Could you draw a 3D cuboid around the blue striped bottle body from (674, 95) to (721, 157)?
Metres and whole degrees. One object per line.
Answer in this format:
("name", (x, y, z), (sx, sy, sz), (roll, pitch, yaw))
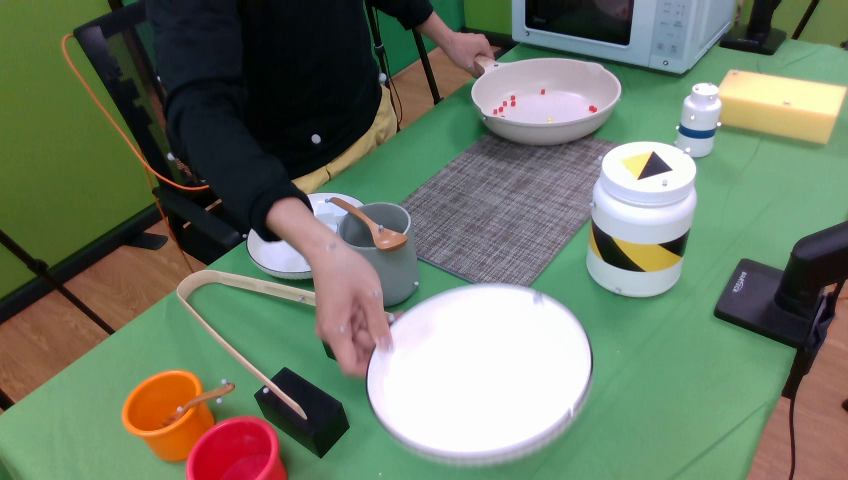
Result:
("blue striped bottle body", (0.486, -0.213, 1.072), (0.063, 0.121, 0.063), (-4, 41, 4))

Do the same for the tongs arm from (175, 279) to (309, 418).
("tongs arm", (-0.255, 0.132, 0.800), (0.028, 0.028, 0.384), (-41, 40, -23))

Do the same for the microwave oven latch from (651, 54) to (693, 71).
("microwave oven latch", (0.531, -0.386, 1.301), (0.078, 0.029, 0.030), (26, 51, 33))

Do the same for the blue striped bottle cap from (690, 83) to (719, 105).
("blue striped bottle cap", (0.481, -0.251, 1.038), (0.044, 0.021, 0.044), (-5, 39, 5))

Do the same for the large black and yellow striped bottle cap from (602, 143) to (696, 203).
("large black and yellow striped bottle cap", (0.289, -0.088, 0.779), (0.115, 0.019, 0.114), (-5, 40, 4))

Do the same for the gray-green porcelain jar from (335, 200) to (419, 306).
("gray-green porcelain jar", (-0.064, 0.023, 0.872), (0.106, 0.127, 0.105), (-4, 41, 4))

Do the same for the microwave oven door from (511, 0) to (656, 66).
("microwave oven door", (0.350, -0.539, 1.348), (0.353, 0.245, 0.039), (24, 50, 31))

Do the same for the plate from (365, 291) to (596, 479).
("plate", (0.051, 0.129, 0.555), (0.209, 0.038, 0.208), (-8, 36, 6))

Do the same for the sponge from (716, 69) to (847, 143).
("sponge", (0.663, -0.256, 1.142), (0.205, 0.061, 0.118), (19, 47, 28))

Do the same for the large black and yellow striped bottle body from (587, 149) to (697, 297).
("large black and yellow striped bottle body", (0.298, -0.026, 0.835), (0.131, 0.185, 0.130), (-4, 41, 4))

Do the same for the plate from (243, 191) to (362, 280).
("plate", (-0.187, -0.005, 0.992), (0.207, 0.039, 0.206), (-4, 40, 4))

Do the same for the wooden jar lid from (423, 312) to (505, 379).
("wooden jar lid", (0.053, 0.142, 0.801), (0.108, 0.021, 0.108), (-5, 40, 4))

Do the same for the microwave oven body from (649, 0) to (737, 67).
("microwave oven body", (0.475, -0.602, 1.411), (0.438, 0.261, 0.327), (23, 50, 32))

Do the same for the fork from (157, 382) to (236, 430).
("fork", (-0.262, 0.189, 0.690), (0.018, 0.206, 0.028), (49, 43, -6))

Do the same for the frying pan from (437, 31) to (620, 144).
("frying pan", (0.182, -0.344, 1.278), (0.308, 0.103, 0.483), (-26, 52, -24))

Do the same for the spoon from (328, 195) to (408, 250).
("spoon", (-0.083, -0.030, 0.829), (0.042, 0.022, 0.192), (-30, 42, -22))

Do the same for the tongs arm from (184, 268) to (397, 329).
("tongs arm", (-0.203, 0.085, 0.847), (0.382, 0.027, 0.051), (11, 44, 35))
